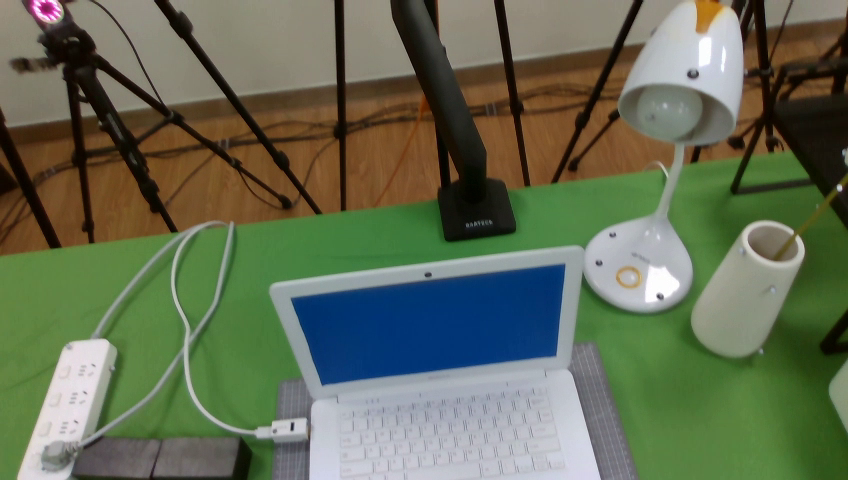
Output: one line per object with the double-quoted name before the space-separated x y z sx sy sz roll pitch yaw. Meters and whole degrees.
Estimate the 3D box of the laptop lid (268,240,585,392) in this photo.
"laptop lid" 0.012 0.102 0.740 0.357 0.244 0.013 -8 45 0

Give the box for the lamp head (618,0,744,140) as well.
"lamp head" 0.264 -0.174 0.604 0.112 0.113 0.122 17 73 18

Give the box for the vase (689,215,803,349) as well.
"vase" 0.410 0.057 0.778 0.098 0.202 0.097 -3 50 4

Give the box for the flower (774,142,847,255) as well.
"flower" 0.423 0.004 0.714 0.038 0.364 0.043 10 42 -8

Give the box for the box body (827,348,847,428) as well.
"box body" 0.639 0.249 0.628 0.254 0.162 0.360 -6 51 1

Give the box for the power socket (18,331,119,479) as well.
"power socket" -0.482 0.224 0.830 0.072 0.033 0.224 -4 51 1

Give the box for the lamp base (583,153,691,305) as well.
"lamp base" 0.321 -0.027 0.866 0.159 0.182 0.178 20 53 20

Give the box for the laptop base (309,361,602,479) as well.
"laptop base" 0.034 0.277 0.751 0.354 0.023 0.233 -7 55 -1

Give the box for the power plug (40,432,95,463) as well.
"power plug" -0.450 0.266 0.769 0.072 0.053 0.035 4 52 5

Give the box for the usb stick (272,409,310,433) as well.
"usb stick" -0.165 0.235 0.786 0.059 0.027 0.021 -2 51 -4
